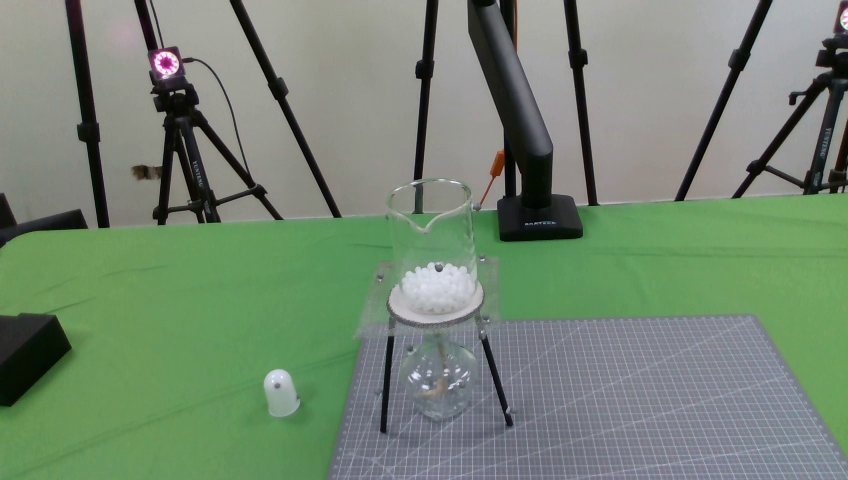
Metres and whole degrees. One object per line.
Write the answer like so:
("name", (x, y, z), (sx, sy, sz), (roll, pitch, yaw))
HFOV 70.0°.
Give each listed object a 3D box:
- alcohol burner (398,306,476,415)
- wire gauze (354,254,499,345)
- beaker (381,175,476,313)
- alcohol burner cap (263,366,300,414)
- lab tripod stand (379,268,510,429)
("alcohol burner", (0.012, 0.111, 0.585), (0.078, 0.120, 0.077), (-3, 32, 2))
("wire gauze", (0.006, 0.047, 0.544), (0.121, 0.011, 0.124), (-4, 32, 8))
("beaker", (0.007, 0.006, 0.517), (0.074, 0.101, 0.083), (-3, 31, 9))
("alcohol burner cap", (-0.148, 0.151, 0.620), (0.034, 0.048, 0.033), (-3, 32, 2))
("lab tripod stand", (0.013, 0.101, 0.581), (0.148, 0.132, 0.147), (-5, 29, 3))
